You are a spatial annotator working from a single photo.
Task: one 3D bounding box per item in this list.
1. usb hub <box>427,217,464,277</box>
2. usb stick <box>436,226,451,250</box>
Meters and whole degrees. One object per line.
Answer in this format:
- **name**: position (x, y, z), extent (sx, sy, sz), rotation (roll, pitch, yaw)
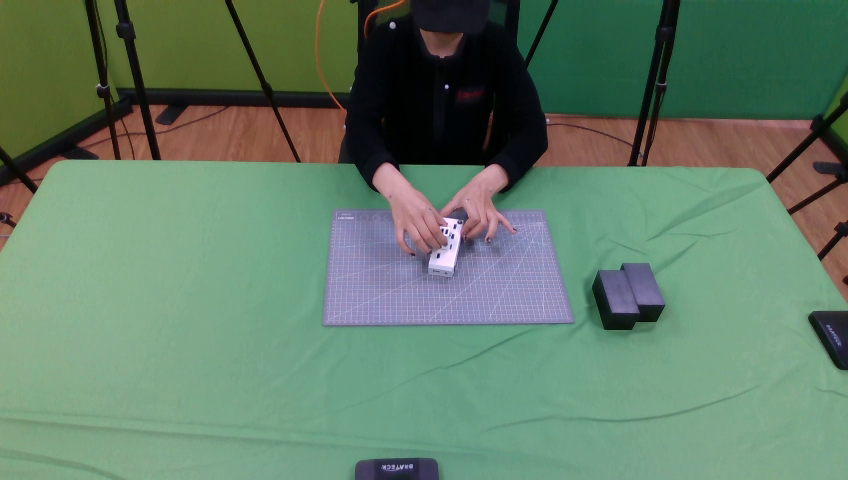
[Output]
- **usb hub**: position (0.043, 0.013, 1.173), extent (0.049, 0.025, 0.124), rotation (10, 54, 8)
- **usb stick**: position (0.037, 0.001, 1.145), extent (0.027, 0.059, 0.021), rotation (9, 54, 6)
